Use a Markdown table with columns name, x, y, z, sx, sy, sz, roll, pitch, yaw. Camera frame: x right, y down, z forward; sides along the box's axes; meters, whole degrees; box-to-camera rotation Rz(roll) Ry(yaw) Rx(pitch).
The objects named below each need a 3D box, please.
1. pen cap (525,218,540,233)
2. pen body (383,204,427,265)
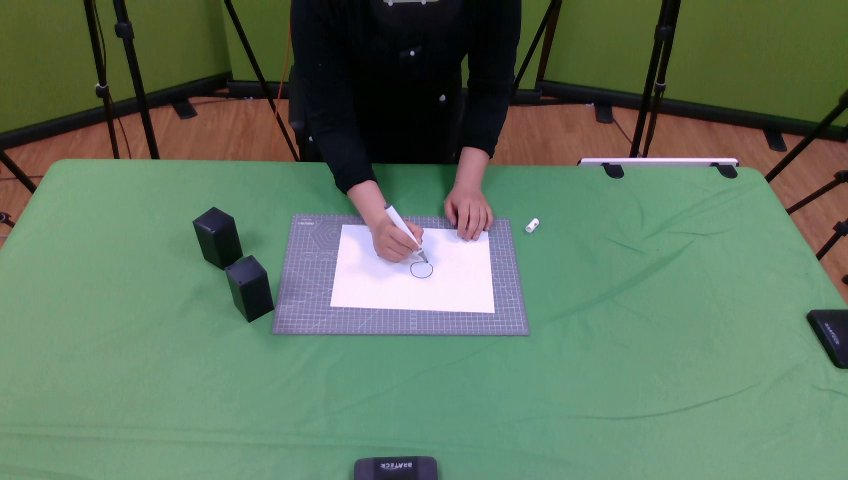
| name | x | y | z | sx | sy | sz | roll | pitch | yaw |
| --- | --- | --- | --- | --- | --- | --- | --- | --- | --- |
| pen cap | 0.224 | -0.031 | 1.248 | 0.017 | 0.017 | 0.038 | 30 | 51 | 23 |
| pen body | -0.033 | -0.007 | 1.135 | 0.017 | 0.145 | 0.017 | -29 | 23 | 13 |
